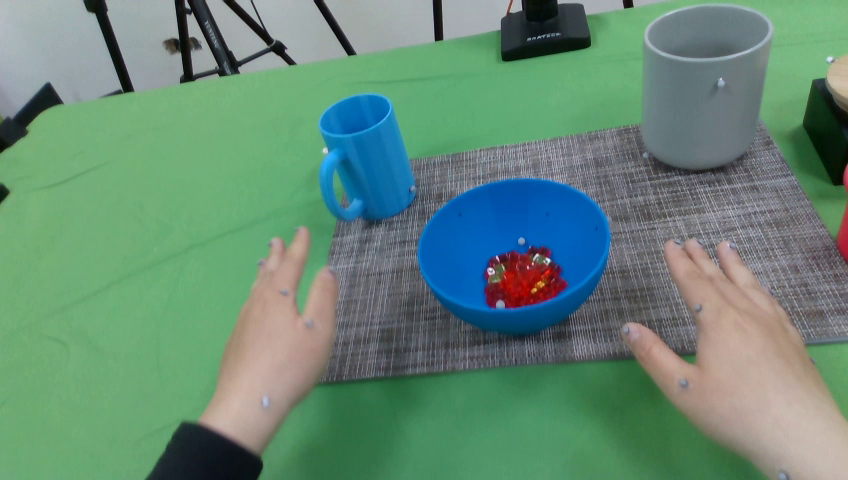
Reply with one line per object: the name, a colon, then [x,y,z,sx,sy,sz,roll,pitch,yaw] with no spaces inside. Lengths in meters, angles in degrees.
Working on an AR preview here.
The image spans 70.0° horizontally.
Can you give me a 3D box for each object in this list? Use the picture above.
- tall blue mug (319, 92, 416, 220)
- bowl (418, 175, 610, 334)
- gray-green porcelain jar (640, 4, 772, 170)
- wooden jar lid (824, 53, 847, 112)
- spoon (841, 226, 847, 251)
tall blue mug: [-0.058,-0.077,0.622,0.077,0.109,0.106,-6,44,10]
bowl: [0.076,0.024,0.496,0.151,0.077,0.150,-9,43,9]
gray-green porcelain jar: [0.261,-0.139,0.574,0.106,0.128,0.105,-9,43,9]
wooden jar lid: [0.414,-0.136,0.532,0.108,0.021,0.107,-10,42,9]
spoon: [0.393,-0.055,0.435,0.022,0.194,0.041,26,32,-21]
